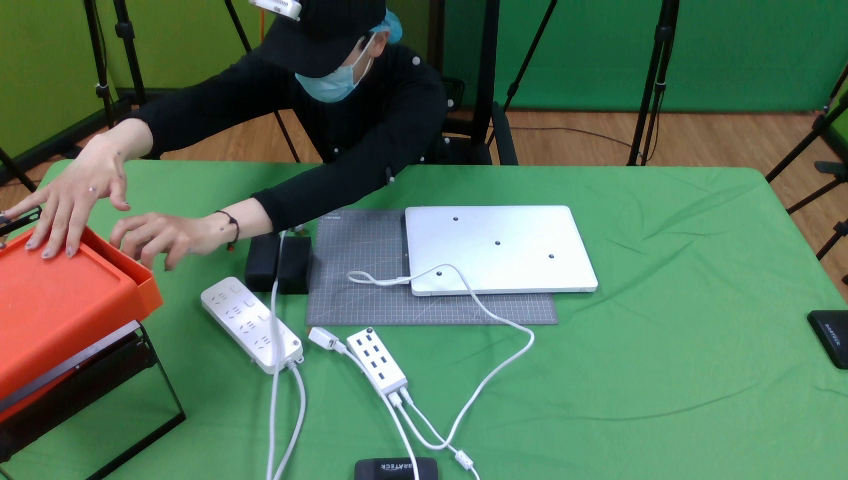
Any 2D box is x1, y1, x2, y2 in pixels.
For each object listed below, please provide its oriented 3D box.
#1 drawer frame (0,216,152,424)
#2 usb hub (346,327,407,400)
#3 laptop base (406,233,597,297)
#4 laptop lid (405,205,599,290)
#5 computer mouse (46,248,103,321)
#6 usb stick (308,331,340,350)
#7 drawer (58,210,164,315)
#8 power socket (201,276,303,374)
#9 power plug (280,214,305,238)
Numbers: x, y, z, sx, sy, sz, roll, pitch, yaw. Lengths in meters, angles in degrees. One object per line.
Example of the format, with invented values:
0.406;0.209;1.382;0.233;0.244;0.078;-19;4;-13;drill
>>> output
-0.509;0.092;0.782;0.201;0.083;0.213;29;51;21;drawer frame
-0.078;0.202;0.998;0.049;0.025;0.124;-23;53;-24;usb hub
0.143;0.018;1.196;0.355;0.023;0.234;-1;43;-6;laptop base
0.143;0.008;1.189;0.357;0.013;0.240;0;44;-5;laptop lid
-0.484;0.058;0.839;0.063;0.041;0.116;-10;54;-13;computer mouse
-0.173;0.167;1.022;0.059;0.021;0.027;10;1;25;usb stick
-0.495;0.078;0.797;0.194;0.073;0.211;30;52;22;drawer
-0.296;0.141;1.034;0.072;0.033;0.225;-35;58;-31;power socket
-0.260;-0.020;1.184;0.035;0.053;0.072;10;55;32;power plug
